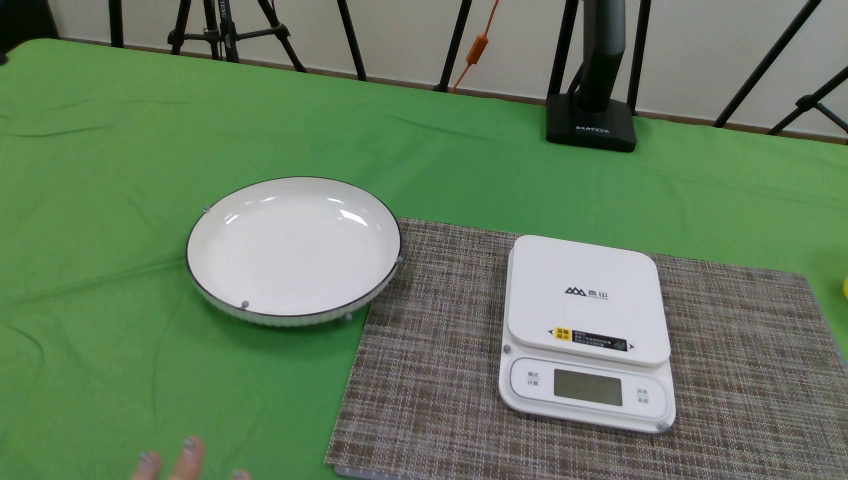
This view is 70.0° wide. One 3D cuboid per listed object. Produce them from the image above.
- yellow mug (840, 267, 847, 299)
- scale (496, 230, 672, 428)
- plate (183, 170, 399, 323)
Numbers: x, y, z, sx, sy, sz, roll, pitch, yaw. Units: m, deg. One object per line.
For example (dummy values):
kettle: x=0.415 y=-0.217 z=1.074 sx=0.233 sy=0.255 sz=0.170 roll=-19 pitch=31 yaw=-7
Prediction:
yellow mug: x=0.505 y=0.048 z=0.610 sx=0.100 sy=0.064 sz=0.129 roll=-24 pitch=51 yaw=-28
scale: x=0.147 y=0.073 z=0.566 sx=0.148 sy=0.032 sz=0.199 roll=9 pitch=43 yaw=4
plate: x=-0.130 y=0.005 z=0.611 sx=0.209 sy=0.038 sz=0.207 roll=3 pitch=43 yaw=-2
